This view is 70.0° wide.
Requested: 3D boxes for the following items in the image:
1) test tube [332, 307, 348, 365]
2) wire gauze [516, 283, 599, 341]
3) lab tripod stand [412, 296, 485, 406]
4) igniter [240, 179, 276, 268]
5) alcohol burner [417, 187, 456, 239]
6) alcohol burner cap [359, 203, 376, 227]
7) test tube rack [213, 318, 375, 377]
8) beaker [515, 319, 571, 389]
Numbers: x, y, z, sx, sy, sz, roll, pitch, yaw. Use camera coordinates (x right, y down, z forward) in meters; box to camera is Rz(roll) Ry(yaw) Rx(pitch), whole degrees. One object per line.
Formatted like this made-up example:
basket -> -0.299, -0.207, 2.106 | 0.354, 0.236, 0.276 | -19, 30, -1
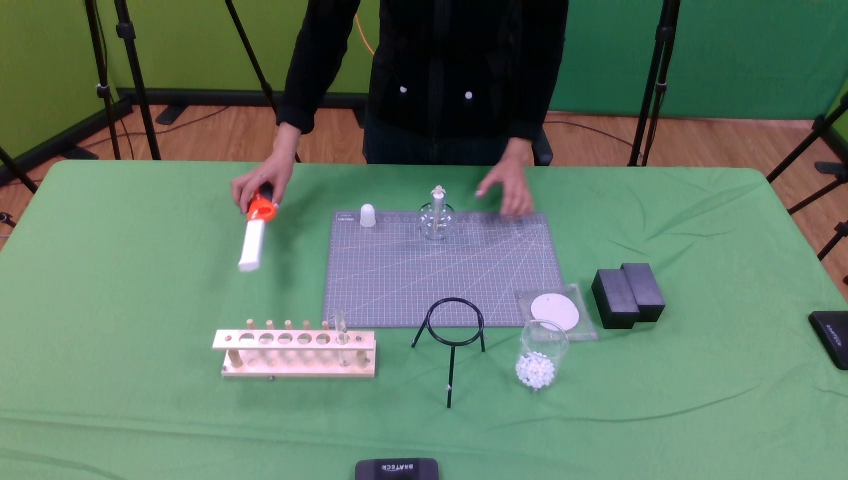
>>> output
test tube -> -0.128, 0.151, 0.931 | 0.017, 0.151, 0.017 | 1, 50, -2
wire gauze -> 0.240, 0.131, 1.094 | 0.125, 0.011, 0.120 | -3, 48, -8
lab tripod stand -> 0.045, 0.168, 0.963 | 0.148, 0.132, 0.147 | 3, 47, -3
igniter -> -0.303, -0.040, 1.112 | 0.057, 0.025, 0.274 | -6, 35, -4
alcohol burner -> 0.025, -0.059, 1.189 | 0.078, 0.120, 0.077 | 1, 48, -1
alcohol burner cap -> -0.115, -0.054, 1.223 | 0.034, 0.048, 0.033 | 2, 47, -2
test tube rack -> -0.202, 0.170, 0.977 | 0.242, 0.085, 0.066 | 1, 46, -3
beaker -> 0.186, 0.186, 0.980 | 0.074, 0.101, 0.083 | -23, 51, -24
